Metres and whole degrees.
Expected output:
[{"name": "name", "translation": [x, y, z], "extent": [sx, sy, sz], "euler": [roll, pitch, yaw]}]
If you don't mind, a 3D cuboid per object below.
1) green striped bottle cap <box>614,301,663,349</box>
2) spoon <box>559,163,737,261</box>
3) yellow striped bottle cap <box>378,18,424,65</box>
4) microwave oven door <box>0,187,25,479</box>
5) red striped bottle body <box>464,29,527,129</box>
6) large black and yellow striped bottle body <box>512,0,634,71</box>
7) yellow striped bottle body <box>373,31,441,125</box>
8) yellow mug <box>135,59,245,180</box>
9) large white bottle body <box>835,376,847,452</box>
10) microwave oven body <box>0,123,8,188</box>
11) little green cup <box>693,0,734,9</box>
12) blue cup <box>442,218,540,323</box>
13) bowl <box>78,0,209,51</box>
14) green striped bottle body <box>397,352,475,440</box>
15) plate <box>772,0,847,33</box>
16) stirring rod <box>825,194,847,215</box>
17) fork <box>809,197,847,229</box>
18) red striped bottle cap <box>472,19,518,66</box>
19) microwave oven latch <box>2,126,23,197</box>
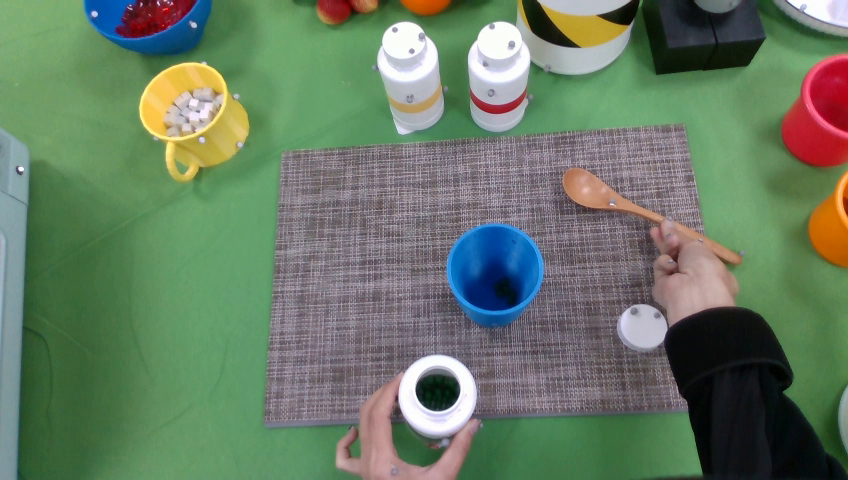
[{"name": "green striped bottle cap", "translation": [0.207, 0.082, 0.585], "extent": [0.044, 0.020, 0.044], "euler": [-2, 65, 4]}, {"name": "spoon", "translation": [0.226, -0.027, 0.618], "extent": [0.193, 0.022, 0.041], "euler": [28, 64, 14]}, {"name": "yellow striped bottle cap", "translation": [-0.023, -0.197, 0.599], "extent": [0.044, 0.019, 0.044], "euler": [-1, 72, 4]}, {"name": "microwave oven door", "translation": [-0.444, 0.081, 0.515], "extent": [0.039, 0.245, 0.353], "euler": [-13, 70, 2]}, {"name": "red striped bottle body", "translation": [0.076, -0.174, 0.637], "extent": [0.063, 0.120, 0.062], "euler": [-3, 68, 9]}, {"name": "large black and yellow striped bottle body", "translation": [0.160, -0.281, 0.632], "extent": [0.130, 0.185, 0.130], "euler": [-2, 70, 5]}, {"name": "yellow striped bottle body", "translation": [-0.017, -0.179, 0.647], "extent": [0.063, 0.121, 0.062], "euler": [-2, 70, 6]}, {"name": "yellow mug", "translation": [-0.266, -0.130, 0.683], "extent": [0.100, 0.064, 0.130], "euler": [6, 72, 7]}, {"name": "large white bottle body", "translation": [0.426, 0.137, 0.459], "extent": [0.130, 0.186, 0.129], "euler": [-2, 70, 6]}, {"name": "microwave oven body", "translation": [-0.594, 0.075, 0.537], "extent": [0.326, 0.262, 0.438], "euler": [-12, 71, 1]}, {"name": "little green cup", "translation": [0.310, -0.278, 0.639], "extent": [0.061, 0.039, 0.061], "euler": [-1, 69, 4]}, {"name": "blue cup", "translation": [0.062, 0.038, 0.570], "extent": [0.092, 0.101, 0.092], "euler": [-1, 70, 4]}, {"name": "bowl", "translation": [-0.324, -0.285, 0.736], "extent": [0.151, 0.077, 0.150], "euler": [-1, 71, 4]}, {"name": "green striped bottle body", "translation": [0.009, 0.132, 0.510], "extent": [0.063, 0.120, 0.062], "euler": [0, 68, 0]}, {"name": "plate", "translation": [0.478, -0.319, 0.691], "extent": [0.209, 0.038, 0.207], "euler": [-2, 71, 5]}, {"name": "stirring rod", "translation": [0.409, -0.005, 0.537], "extent": [0.014, 0.006, 0.175], "euler": [-1, 27, 3]}, {"name": "fork", "translation": [0.439, -0.005, 0.526], "extent": [0.028, 0.019, 0.205], "euler": [-41, 28, -8]}, {"name": "red striped bottle cap", "translation": [0.069, -0.192, 0.588], "extent": [0.044, 0.018, 0.044], "euler": [-1, 69, 2]}, {"name": "microwave oven latch", "translation": [-0.474, -0.087, 0.684], "extent": [0.030, 0.030, 0.078], "euler": [-10, 71, 2]}]
